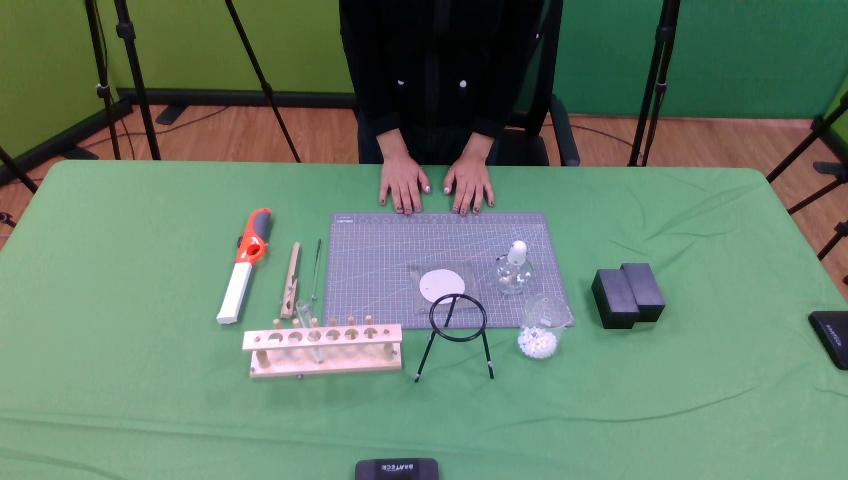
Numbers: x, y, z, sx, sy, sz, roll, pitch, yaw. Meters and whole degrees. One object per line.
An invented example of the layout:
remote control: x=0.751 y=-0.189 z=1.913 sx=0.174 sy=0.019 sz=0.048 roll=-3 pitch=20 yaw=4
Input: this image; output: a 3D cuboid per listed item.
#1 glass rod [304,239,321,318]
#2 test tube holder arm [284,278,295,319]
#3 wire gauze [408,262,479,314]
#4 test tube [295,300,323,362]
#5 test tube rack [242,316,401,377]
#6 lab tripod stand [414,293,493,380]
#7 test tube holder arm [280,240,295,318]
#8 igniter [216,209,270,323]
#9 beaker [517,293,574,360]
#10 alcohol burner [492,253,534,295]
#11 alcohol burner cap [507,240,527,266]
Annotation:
glass rod: x=-0.206 y=0.068 z=1.127 sx=0.008 sy=0.008 sz=0.198 roll=2 pitch=43 yaw=-2
test tube holder arm: x=-0.242 y=0.103 z=1.085 sx=0.010 sy=0.015 sz=0.087 roll=29 pitch=37 yaw=-30
wire gauze: x=0.036 y=0.085 z=1.127 sx=0.121 sy=0.011 sz=0.124 roll=-3 pitch=43 yaw=-6
test tube: x=-0.176 y=0.143 z=0.935 sx=0.017 sy=0.151 sz=0.017 roll=-2 pitch=46 yaw=2
test tube rack: x=-0.161 y=0.166 z=0.983 sx=0.242 sy=0.085 sz=0.066 roll=-2 pitch=46 yaw=-6
lab tripod stand: x=0.052 y=0.159 z=0.972 sx=0.148 sy=0.132 sz=0.147 roll=4 pitch=46 yaw=-4
test tube holder arm: x=-0.250 y=0.068 z=1.113 sx=0.013 sy=0.015 sz=0.177 roll=27 pitch=38 yaw=-32
igniter: x=-0.335 y=0.039 z=1.132 sx=0.057 sy=0.025 sz=0.275 roll=-3 pitch=46 yaw=6
beaker: x=0.200 y=0.149 z=1.018 sx=0.084 sy=0.101 sz=0.073 roll=14 pitch=47 yaw=8
alcohol burner: x=0.165 y=0.045 z=1.103 sx=0.078 sy=0.119 sz=0.077 roll=3 pitch=47 yaw=-3
alcohol burner cap: x=0.167 y=0.021 z=1.075 sx=0.034 sy=0.048 sz=0.033 roll=1 pitch=55 yaw=-1
